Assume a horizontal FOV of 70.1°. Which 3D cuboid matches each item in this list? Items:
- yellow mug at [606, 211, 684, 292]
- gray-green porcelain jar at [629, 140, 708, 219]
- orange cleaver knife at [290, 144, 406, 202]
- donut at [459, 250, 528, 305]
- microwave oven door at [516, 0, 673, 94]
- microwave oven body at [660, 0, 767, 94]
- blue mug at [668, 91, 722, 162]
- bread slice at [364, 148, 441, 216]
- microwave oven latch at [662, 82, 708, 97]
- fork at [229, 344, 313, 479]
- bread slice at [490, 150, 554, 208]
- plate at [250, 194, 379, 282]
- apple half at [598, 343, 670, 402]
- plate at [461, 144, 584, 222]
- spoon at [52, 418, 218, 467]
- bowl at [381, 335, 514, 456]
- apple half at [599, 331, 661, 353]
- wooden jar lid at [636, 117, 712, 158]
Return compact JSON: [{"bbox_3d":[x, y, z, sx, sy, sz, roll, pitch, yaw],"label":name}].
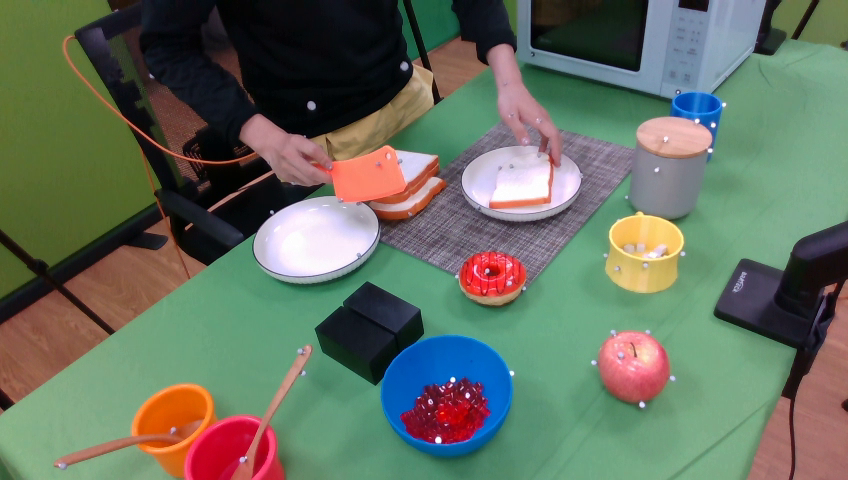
[{"bbox_3d":[0.318,0.008,0.883,0.100,0.064,0.130,0,40,9],"label":"yellow mug"},{"bbox_3d":[0.383,-0.105,0.958,0.106,0.127,0.105,-4,41,4],"label":"gray-green porcelain jar"},{"bbox_3d":[-0.116,-0.095,0.893,0.210,0.077,0.012,-1,10,33],"label":"orange cleaver knife"},{"bbox_3d":[0.100,0.053,0.872,0.099,0.048,0.098,-5,40,4],"label":"donut"},{"bbox_3d":[0.344,-0.458,1.257,0.353,0.245,0.039,26,52,33],"label":"microwave oven door"},{"bbox_3d":[0.473,-0.517,1.314,0.438,0.261,0.327,26,52,34],"label":"microwave oven body"},{"bbox_3d":[0.475,-0.207,1.078,0.082,0.106,0.116,4,42,13],"label":"blue mug"},{"bbox_3d":[-0.046,-0.102,1.046,0.106,0.018,0.134,17,66,24],"label":"bread slice"},{"bbox_3d":[0.517,-0.298,1.203,0.078,0.029,0.030,28,52,35],"label":"microwave oven latch"},{"bbox_3d":[-0.173,0.205,0.662,0.028,0.019,0.207,29,94,36],"label":"fork"},{"bbox_3d":[0.170,-0.106,1.040,0.104,0.019,0.131,-7,45,23],"label":"bread slice"},{"bbox_3d":[-0.174,-0.001,0.984,0.209,0.038,0.208,-3,40,3],"label":"plate"},{"bbox_3d":[0.247,0.161,0.710,0.081,0.075,0.053,2,47,5],"label":"apple half"},{"bbox_3d":[0.168,-0.095,1.040,0.207,0.039,0.206,-4,41,4],"label":"plate"},{"bbox_3d":[-0.308,0.220,0.663,0.041,0.195,0.021,21,93,29],"label":"spoon"},{"bbox_3d":[0.029,0.192,0.701,0.151,0.077,0.150,-4,40,4],"label":"bowl"},{"bbox_3d":[0.249,0.134,0.738,0.081,0.081,0.032,-1,46,7],"label":"apple half"},{"bbox_3d":[0.377,-0.151,0.917,0.108,0.021,0.108,-2,41,2],"label":"wooden jar lid"}]
